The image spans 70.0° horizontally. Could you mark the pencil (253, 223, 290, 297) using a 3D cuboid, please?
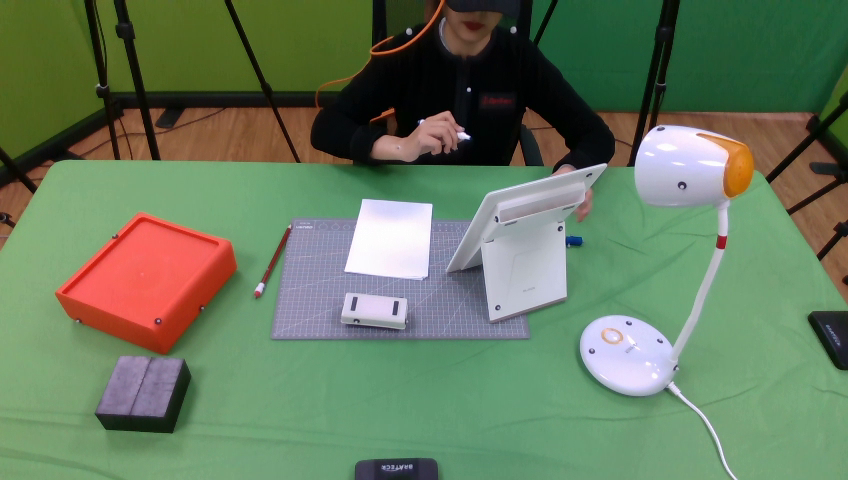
[{"bbox_3d":[-0.286,0.033,1.150,0.012,0.012,0.193,9,46,4],"label":"pencil"}]

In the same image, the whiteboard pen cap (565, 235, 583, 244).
[{"bbox_3d":[0.303,0.000,1.221,0.033,0.018,0.018,3,46,-1],"label":"whiteboard pen cap"}]

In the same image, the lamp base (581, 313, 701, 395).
[{"bbox_3d":[0.361,0.144,0.972,0.178,0.181,0.160,34,53,23],"label":"lamp base"}]

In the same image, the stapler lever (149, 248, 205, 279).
[{"bbox_3d":[-0.443,0.037,1.083,0.118,0.040,0.027,19,50,17],"label":"stapler lever"}]

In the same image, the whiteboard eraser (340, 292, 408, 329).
[{"bbox_3d":[-0.087,0.125,1.052,0.113,0.042,0.055,5,45,1],"label":"whiteboard eraser"}]

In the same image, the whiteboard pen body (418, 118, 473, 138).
[{"bbox_3d":[0.043,-0.226,1.235,0.140,0.017,0.017,24,48,34],"label":"whiteboard pen body"}]

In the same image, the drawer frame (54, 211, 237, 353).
[{"bbox_3d":[-0.473,0.067,1.055,0.201,0.083,0.212,17,48,11],"label":"drawer frame"}]

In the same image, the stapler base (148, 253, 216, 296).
[{"bbox_3d":[-0.443,0.058,1.108,0.130,0.024,0.041,24,51,11],"label":"stapler base"}]

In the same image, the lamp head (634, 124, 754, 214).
[{"bbox_3d":[0.351,-0.089,0.775,0.112,0.113,0.122,-30,30,-28],"label":"lamp head"}]

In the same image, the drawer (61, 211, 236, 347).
[{"bbox_3d":[-0.473,0.064,1.059,0.194,0.073,0.211,18,48,11],"label":"drawer"}]

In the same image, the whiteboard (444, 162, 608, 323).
[{"bbox_3d":[0.186,0.025,1.028,0.217,0.306,0.143,-14,68,-18],"label":"whiteboard"}]
